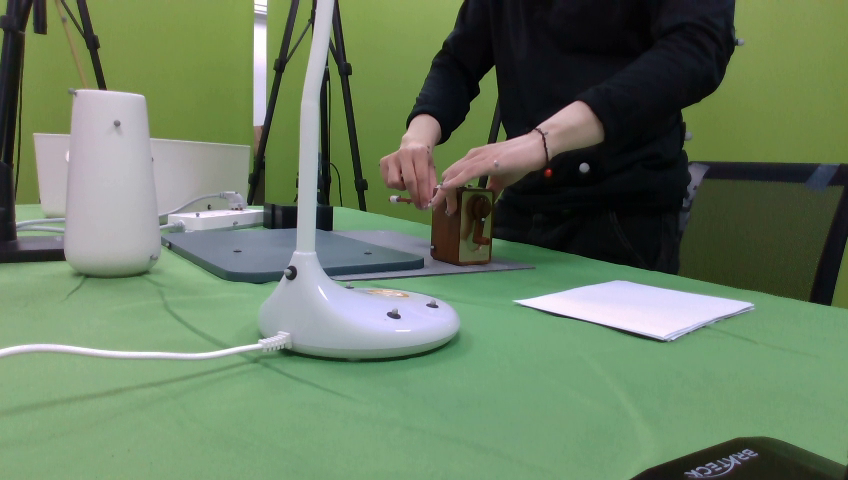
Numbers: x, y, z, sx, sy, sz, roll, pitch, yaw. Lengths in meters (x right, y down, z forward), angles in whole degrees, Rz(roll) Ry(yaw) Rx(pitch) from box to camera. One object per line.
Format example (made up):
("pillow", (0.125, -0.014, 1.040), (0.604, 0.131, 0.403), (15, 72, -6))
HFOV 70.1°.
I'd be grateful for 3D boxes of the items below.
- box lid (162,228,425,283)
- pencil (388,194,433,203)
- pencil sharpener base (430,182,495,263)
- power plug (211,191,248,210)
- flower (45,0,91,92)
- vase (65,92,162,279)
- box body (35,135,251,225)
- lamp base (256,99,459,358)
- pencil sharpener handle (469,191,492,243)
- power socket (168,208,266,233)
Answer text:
("box lid", (-0.200, 0.014, 0.861), (0.265, 0.015, 0.369), (-3, 9, -35))
("pencil", (-0.008, -0.063, 0.943), (0.012, 0.012, 0.193), (-2, 7, -31))
("pencil sharpener base", (0.055, -0.025, 0.843), (0.062, 0.107, 0.076), (-2, 9, -33))
("power plug", (-0.384, -0.071, 1.205), (0.072, 0.052, 0.035), (1, 8, 28))
("flower", (-0.361, -0.142, 0.663), (0.044, 0.361, 0.038), (-12, 11, 30))
("vase", (-0.347, -0.060, 0.673), (0.098, 0.200, 0.098), (1, 7, 0))
("box body", (-0.559, -0.127, 1.257), (0.253, 0.160, 0.365), (4, 8, 15))
("lamp base", (-0.055, -0.013, 0.463), (0.160, 0.180, 0.180), (6, 11, 27))
("pencil sharpener handle", (0.081, -0.030, 0.798), (0.036, 0.067, 0.030), (8, 3, -34))
("power socket", (-0.379, -0.038, 1.129), (0.072, 0.032, 0.227), (4, 8, 18))
